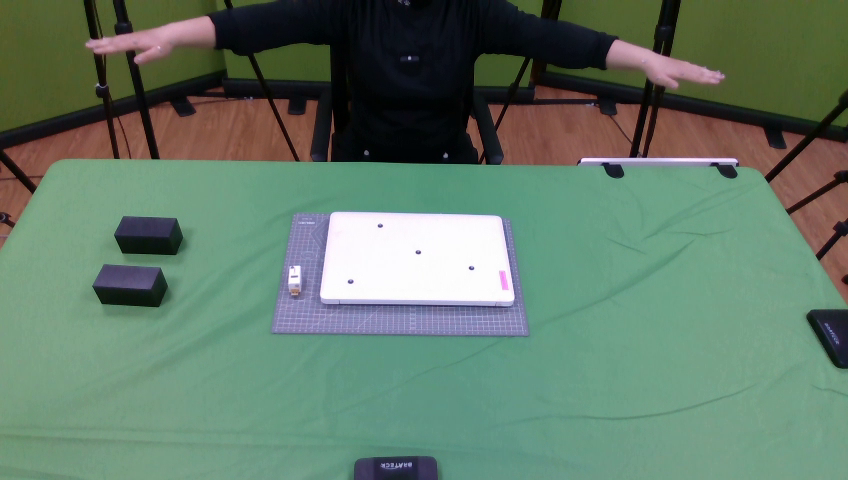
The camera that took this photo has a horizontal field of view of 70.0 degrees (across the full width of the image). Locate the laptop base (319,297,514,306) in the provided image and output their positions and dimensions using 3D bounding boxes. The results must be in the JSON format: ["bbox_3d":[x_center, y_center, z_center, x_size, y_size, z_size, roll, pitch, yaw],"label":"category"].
[{"bbox_3d":[-0.015,0.037,1.162,0.354,0.023,0.234,1,42,-3],"label":"laptop base"}]

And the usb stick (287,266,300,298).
[{"bbox_3d":[-0.237,0.077,1.097,0.021,0.027,0.059,-2,49,-6],"label":"usb stick"}]

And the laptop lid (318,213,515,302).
[{"bbox_3d":[-0.014,0.027,1.156,0.357,0.013,0.240,2,43,-2],"label":"laptop lid"}]
